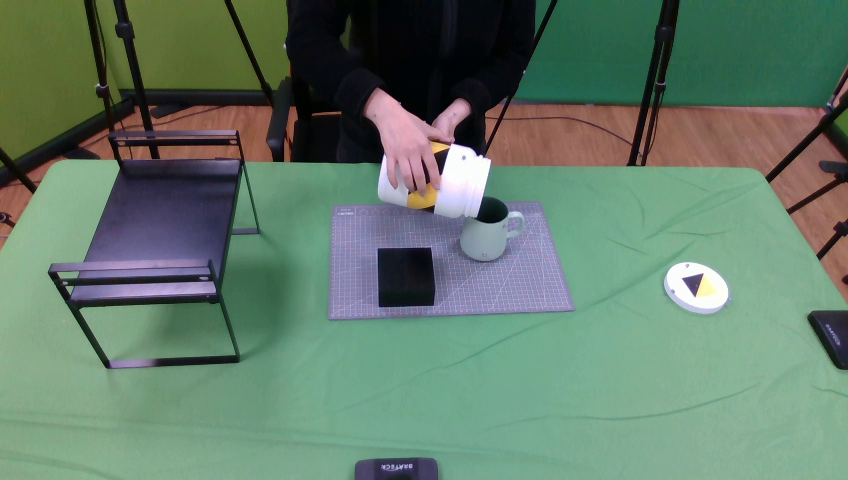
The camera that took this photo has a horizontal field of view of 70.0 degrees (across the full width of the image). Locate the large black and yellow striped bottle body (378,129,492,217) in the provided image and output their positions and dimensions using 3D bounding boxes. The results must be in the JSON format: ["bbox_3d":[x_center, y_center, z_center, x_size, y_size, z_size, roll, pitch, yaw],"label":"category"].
[{"bbox_3d":[0.020,-0.115,1.086,0.184,0.131,0.130,14,47,3],"label":"large black and yellow striped bottle body"}]

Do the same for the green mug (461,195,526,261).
[{"bbox_3d":[0.136,-0.024,1.168,0.125,0.105,0.092,-7,47,-10],"label":"green mug"}]

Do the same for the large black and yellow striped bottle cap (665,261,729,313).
[{"bbox_3d":[0.518,0.087,1.152,0.115,0.019,0.114,2,47,-2],"label":"large black and yellow striped bottle cap"}]
